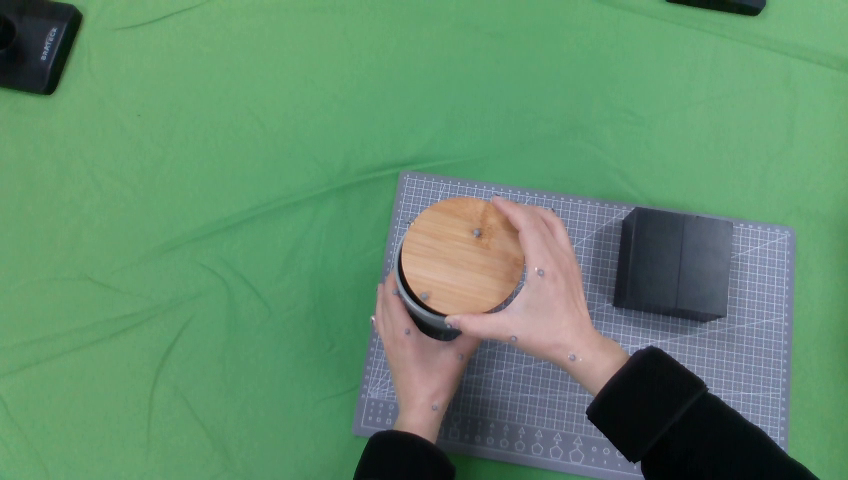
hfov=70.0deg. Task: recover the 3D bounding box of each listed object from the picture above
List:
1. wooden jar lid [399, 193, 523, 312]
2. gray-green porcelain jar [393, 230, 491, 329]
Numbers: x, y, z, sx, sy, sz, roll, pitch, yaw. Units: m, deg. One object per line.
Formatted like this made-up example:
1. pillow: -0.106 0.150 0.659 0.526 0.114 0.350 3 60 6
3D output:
1. wooden jar lid: 0.033 0.012 0.535 0.108 0.021 0.108 -1 76 3
2. gray-green porcelain jar: 0.025 0.034 0.612 0.106 0.127 0.105 0 76 1
